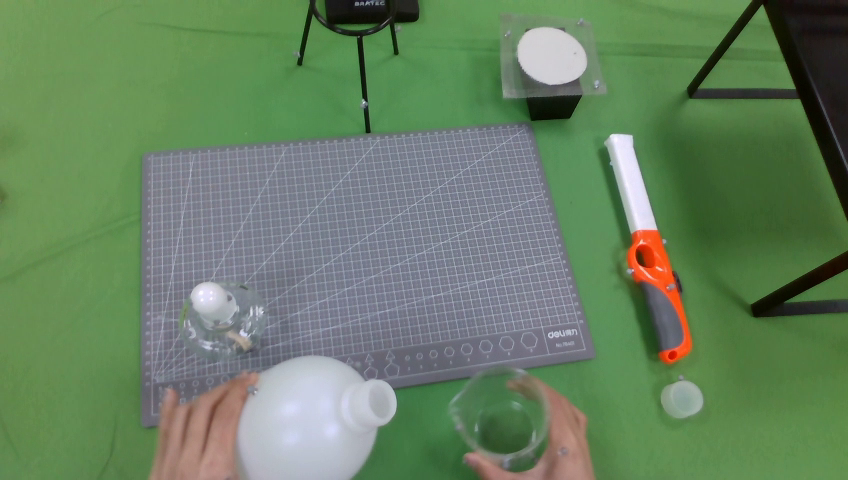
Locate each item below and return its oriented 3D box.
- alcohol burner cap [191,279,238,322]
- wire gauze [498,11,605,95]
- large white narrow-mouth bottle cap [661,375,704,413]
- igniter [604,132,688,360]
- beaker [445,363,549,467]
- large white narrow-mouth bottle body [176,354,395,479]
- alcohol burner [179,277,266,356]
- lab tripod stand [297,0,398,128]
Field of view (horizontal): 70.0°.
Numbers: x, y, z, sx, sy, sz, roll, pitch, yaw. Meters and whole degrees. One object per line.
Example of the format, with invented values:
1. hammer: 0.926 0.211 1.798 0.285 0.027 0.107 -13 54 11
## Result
1. alcohol burner cap: -0.182 0.051 0.521 0.034 0.048 0.033 1 72 -3
2. wire gauze: 0.150 -0.224 0.726 0.122 0.011 0.124 1 66 -6
3. large white narrow-mouth bottle cap: 0.265 0.158 0.622 0.038 0.024 0.037 3 66 -5
4. igniter: 0.248 -0.001 0.685 0.057 0.025 0.274 1 66 -17
5. beaker: 0.065 0.157 0.531 0.084 0.101 0.073 1 63 9
6. large white narrow-mouth bottle body: -0.098 0.141 0.459 0.103 0.194 0.101 30 47 -38
7. alcohol burner: -0.186 0.064 0.554 0.078 0.120 0.077 3 64 -7
8. lab tripod stand: -0.077 -0.222 0.684 0.149 0.132 0.147 3 67 -7
